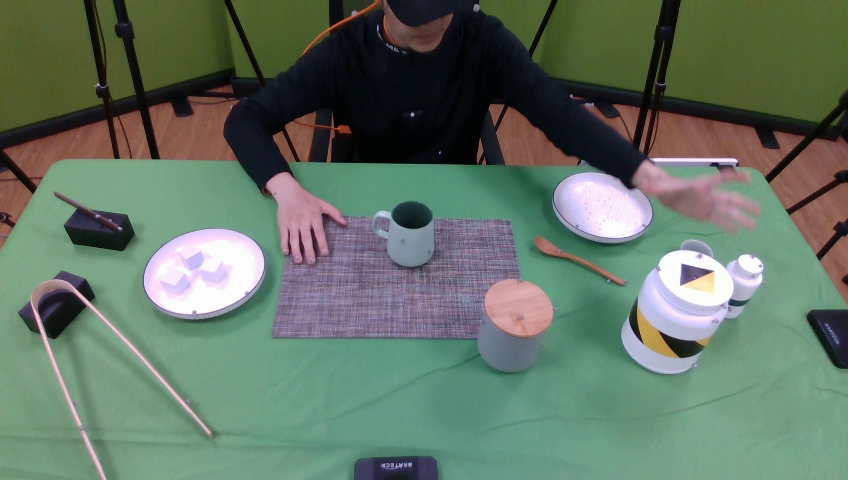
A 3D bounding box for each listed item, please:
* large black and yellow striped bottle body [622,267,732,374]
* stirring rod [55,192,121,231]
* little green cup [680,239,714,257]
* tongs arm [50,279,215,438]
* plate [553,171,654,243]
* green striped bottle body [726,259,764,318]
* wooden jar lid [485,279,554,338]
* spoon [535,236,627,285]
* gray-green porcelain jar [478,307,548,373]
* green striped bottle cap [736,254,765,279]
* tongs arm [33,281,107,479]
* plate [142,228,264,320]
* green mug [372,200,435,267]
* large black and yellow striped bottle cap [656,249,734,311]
[{"bbox_3d":[0.415,0.119,0.997,0.131,0.185,0.130,2,46,-2],"label":"large black and yellow striped bottle body"},{"bbox_3d":[-0.632,-0.055,1.138,0.175,0.014,0.006,24,50,19],"label":"stirring rod"},{"bbox_3d":[0.530,0.033,1.190,0.061,0.039,0.061,2,47,-2],"label":"little green cup"},{"bbox_3d":[-0.459,0.178,0.949,0.386,0.028,0.028,37,60,17],"label":"tongs arm"},{"bbox_3d":[0.374,-0.066,1.275,0.209,0.038,0.208,2,46,-2],"label":"plate"},{"bbox_3d":[0.563,0.081,1.089,0.063,0.120,0.063,2,46,-2],"label":"green striped bottle body"},{"bbox_3d":[0.147,0.108,0.940,0.108,0.021,0.107,4,47,-4],"label":"wooden jar lid"},{"bbox_3d":[0.303,0.040,1.178,0.193,0.022,0.041,25,30,20],"label":"spoon"},{"bbox_3d":[0.144,0.148,0.989,0.106,0.127,0.105,2,50,-2],"label":"gray-green porcelain jar"},{"bbox_3d":[0.566,0.046,1.051,0.044,0.020,0.044,0,45,1],"label":"green striped bottle cap"},{"bbox_3d":[-0.517,0.214,0.910,0.051,0.026,0.383,-28,63,-27],"label":"tongs arm"},{"bbox_3d":[-0.394,0.064,1.095,0.208,0.039,0.206,2,46,-2],"label":"plate"},{"bbox_3d":[-0.040,-0.015,1.145,0.125,0.105,0.092,16,48,12],"label":"green mug"},{"bbox_3d":[0.419,0.061,0.938,0.115,0.019,0.114,2,47,-2],"label":"large black and yellow striped bottle cap"}]
